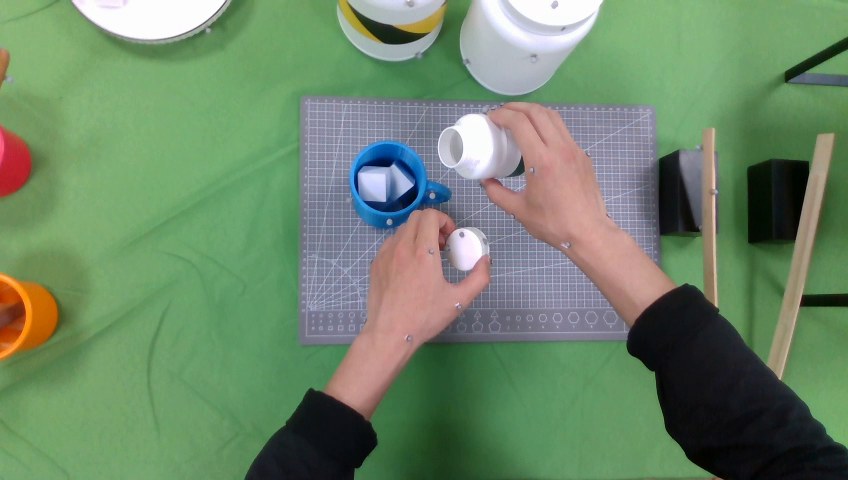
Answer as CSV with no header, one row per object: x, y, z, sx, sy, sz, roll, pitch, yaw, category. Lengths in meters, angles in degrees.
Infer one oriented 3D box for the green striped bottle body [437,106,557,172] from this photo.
0.070,-0.099,0.595,0.120,0.063,0.063,-8,85,-38,green striped bottle body

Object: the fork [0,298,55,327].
-0.486,0.059,0.609,0.209,0.018,0.028,25,79,-47,fork

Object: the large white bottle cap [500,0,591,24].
0.119,-0.271,0.596,0.115,0.018,0.114,1,85,-7,large white bottle cap

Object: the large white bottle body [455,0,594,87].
0.111,-0.263,0.679,0.131,0.184,0.130,0,85,-6,large white bottle body

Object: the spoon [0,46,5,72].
-0.459,-0.124,0.628,0.041,0.021,0.194,46,126,2,spoon

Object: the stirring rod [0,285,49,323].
-0.463,0.096,0.615,0.014,0.006,0.175,47,40,-4,stirring rod

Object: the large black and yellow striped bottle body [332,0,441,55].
-0.039,-0.299,0.666,0.131,0.184,0.130,1,85,-6,large black and yellow striped bottle body

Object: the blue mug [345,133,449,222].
-0.029,-0.065,0.687,0.117,0.106,0.082,7,84,-6,blue mug

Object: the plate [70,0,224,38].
-0.323,-0.335,0.712,0.208,0.039,0.207,0,86,-6,plate

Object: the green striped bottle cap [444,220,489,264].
0.043,0.002,0.606,0.044,0.020,0.044,4,97,34,green striped bottle cap

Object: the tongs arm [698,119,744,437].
0.355,0.050,0.722,0.051,0.026,0.385,-5,98,-9,tongs arm

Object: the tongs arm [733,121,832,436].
0.436,0.051,0.733,0.028,0.027,0.388,8,96,-14,tongs arm
